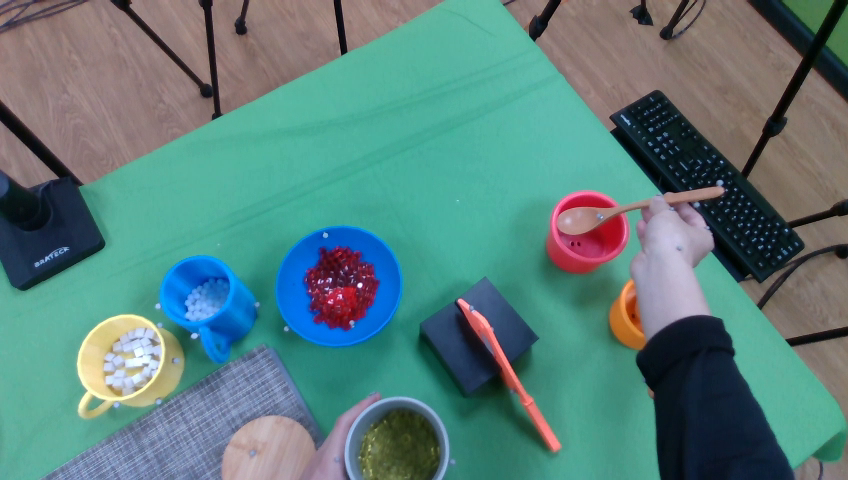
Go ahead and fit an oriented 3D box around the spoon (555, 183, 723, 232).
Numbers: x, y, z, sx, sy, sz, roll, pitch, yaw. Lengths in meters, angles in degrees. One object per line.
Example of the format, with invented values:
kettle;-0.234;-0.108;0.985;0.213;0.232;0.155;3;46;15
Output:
spoon;0.242;-0.040;0.702;0.022;0.193;0.041;40;53;-34

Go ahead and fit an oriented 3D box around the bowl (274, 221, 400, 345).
bowl;-0.102;0.061;0.748;0.151;0.077;0.150;1;70;-1

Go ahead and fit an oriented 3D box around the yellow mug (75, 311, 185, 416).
yellow mug;-0.355;0.152;0.714;0.099;0.064;0.130;34;74;11

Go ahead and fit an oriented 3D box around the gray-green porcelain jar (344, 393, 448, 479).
gray-green porcelain jar;-0.029;0.228;0.664;0.106;0.127;0.105;1;69;-1

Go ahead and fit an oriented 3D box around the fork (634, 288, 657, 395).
fork;0.259;0.112;0.702;0.028;0.019;0.206;30;28;3

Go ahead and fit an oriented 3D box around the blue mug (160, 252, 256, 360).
blue mug;-0.252;0.085;0.721;0.082;0.106;0.115;-12;71;-6

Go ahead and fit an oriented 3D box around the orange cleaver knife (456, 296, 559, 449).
orange cleaver knife;0.098;0.157;0.717;0.012;0.077;0.212;-34;104;-13

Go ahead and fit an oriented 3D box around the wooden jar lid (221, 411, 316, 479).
wooden jar lid;-0.178;0.254;0.703;0.108;0.021;0.107;1;71;-1
